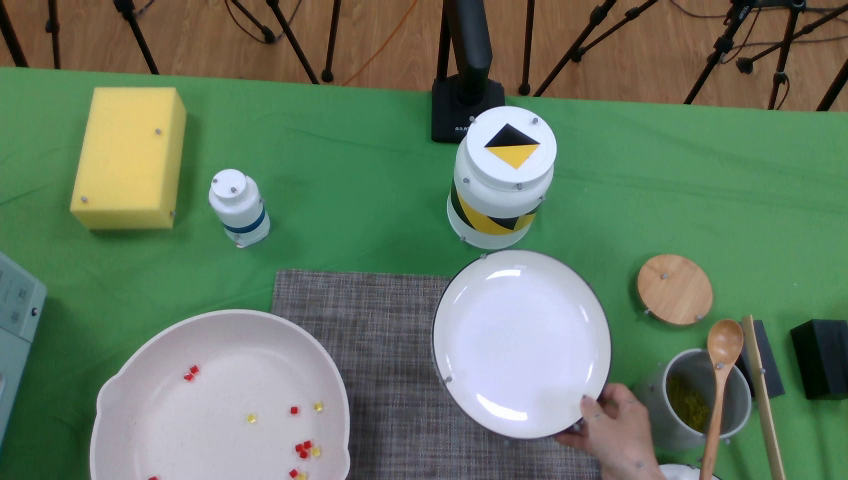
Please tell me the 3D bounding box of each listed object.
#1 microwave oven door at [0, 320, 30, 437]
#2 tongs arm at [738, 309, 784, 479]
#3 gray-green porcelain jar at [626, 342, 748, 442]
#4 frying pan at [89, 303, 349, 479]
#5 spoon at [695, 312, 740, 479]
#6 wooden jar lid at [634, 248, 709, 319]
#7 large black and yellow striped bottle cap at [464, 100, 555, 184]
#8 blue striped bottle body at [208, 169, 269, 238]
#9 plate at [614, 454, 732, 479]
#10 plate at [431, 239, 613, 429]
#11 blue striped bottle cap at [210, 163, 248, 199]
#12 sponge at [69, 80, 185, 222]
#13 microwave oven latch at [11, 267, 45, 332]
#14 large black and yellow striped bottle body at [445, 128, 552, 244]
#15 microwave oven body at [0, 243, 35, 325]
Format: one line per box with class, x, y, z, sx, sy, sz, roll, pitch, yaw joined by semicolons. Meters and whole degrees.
microwave oven door;-0.512;0.231;0.588;0.039;0.245;0.353;3;65;-3
tongs arm;0.450;0.275;0.749;0.051;0.026;0.382;-2;77;-7
gray-green porcelain jar;0.319;0.194;0.756;0.106;0.127;0.105;2;65;-3
frying pan;-0.265;0.305;0.670;0.306;0.103;0.484;17;58;6
spoon;0.328;0.175;0.688;0.041;0.022;0.192;19;70;1
wooden jar lid;0.355;0.064;0.875;0.108;0.021;0.107;2;67;-3
large black and yellow striped bottle cap;0.107;-0.124;0.757;0.115;0.019;0.114;2;67;-3
blue striped bottle body;-0.253;-0.054;0.823;0.063;0.121;0.062;2;65;-3
plate;0.305;0.367;0.726;0.208;0.039;0.206;2;66;-3
plate;0.107;0.103;0.677;0.210;0.038;0.208;3;75;-10
blue striped bottle cap;-0.250;-0.077;0.777;0.044;0.021;0.044;2;67;-4
sponge;-0.423;-0.129;0.875;0.118;0.061;0.205;-2;67;-6
microwave oven latch;-0.510;0.075;0.770;0.030;0.030;0.078;6;66;-2
large black and yellow striped bottle body;0.100;-0.088;0.833;0.131;0.185;0.129;2;65;-3
microwave oven body;-0.656;0.187;0.602;0.326;0.262;0.438;3;66;-3
